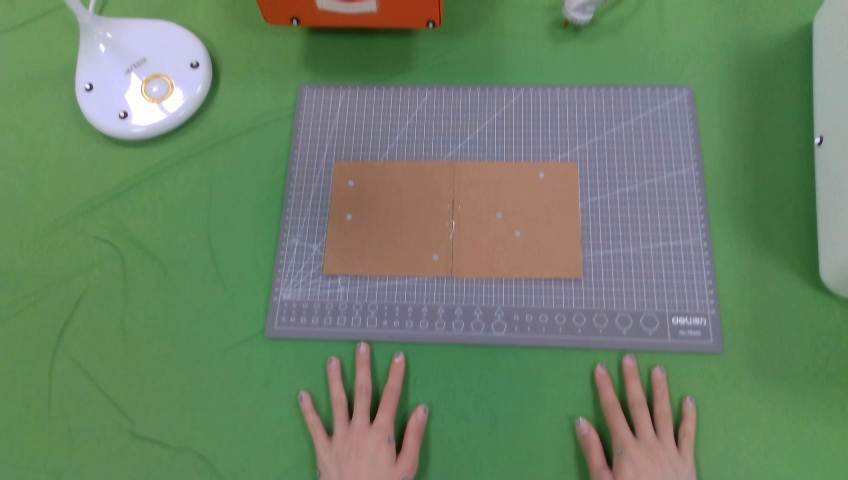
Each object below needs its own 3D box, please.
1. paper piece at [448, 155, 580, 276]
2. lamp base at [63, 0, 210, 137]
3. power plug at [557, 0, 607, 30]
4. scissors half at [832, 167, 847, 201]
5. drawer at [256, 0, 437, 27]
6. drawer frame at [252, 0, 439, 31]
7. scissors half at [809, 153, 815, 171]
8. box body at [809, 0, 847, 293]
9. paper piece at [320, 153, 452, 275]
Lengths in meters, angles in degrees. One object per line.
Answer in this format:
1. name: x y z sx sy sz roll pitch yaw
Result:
1. paper piece: 0.094 -0.028 0.638 0.135 0.004 0.135 2 71 4
2. lamp base: -0.347 -0.226 0.646 0.178 0.181 0.160 33 75 17
3. power plug: 0.191 -0.266 0.706 0.073 0.053 0.035 0 65 -18
4. scissors half: 0.487 -0.100 0.637 0.040 0.013 0.175 43 75 7
5. drawer: -0.077 -0.344 0.680 0.194 0.074 0.210 2 70 5
6. drawer frame: -0.079 -0.347 0.680 0.201 0.083 0.212 2 69 5
7. scissors half: 0.475 -0.115 0.642 0.175 0.013 0.040 -28 73 -12
8. box body: 0.524 -0.117 0.566 0.254 0.161 0.362 9 71 6
9. paper piece: -0.038 -0.029 0.647 0.136 0.009 0.137 0 71 7
